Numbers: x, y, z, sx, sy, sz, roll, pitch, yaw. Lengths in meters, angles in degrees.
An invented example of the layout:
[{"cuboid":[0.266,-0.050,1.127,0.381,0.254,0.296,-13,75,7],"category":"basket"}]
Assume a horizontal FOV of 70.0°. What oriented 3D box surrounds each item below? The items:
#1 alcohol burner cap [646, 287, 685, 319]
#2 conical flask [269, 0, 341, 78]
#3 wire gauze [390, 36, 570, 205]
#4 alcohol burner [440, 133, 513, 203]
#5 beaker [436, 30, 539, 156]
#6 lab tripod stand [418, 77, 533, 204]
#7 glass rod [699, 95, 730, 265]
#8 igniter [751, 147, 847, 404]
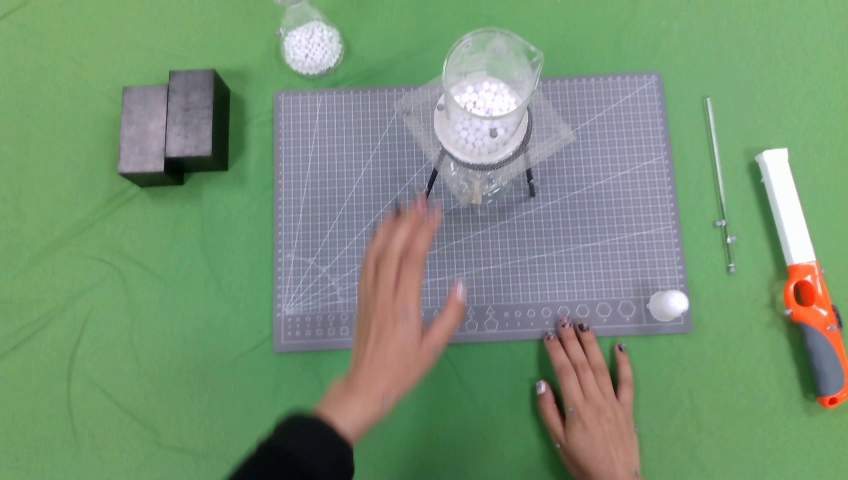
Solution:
[{"cuboid":[0.256,0.064,0.635,0.034,0.048,0.033,0,78,1],"category":"alcohol burner cap"},{"cuboid":[-0.136,-0.237,0.662,0.075,0.122,0.075,0,78,1],"category":"conical flask"},{"cuboid":[0.052,-0.111,0.559,0.125,0.011,0.121,-32,83,-6],"category":"wire gauze"},{"cuboid":[0.056,-0.081,0.630,0.078,0.119,0.077,0,77,0],"category":"alcohol burner"},{"cuboid":[0.051,-0.119,0.512,0.084,0.100,0.073,-23,81,-4],"category":"beaker"},{"cuboid":[0.053,-0.093,0.623,0.148,0.132,0.148,0,81,1],"category":"lab tripod stand"},{"cuboid":[0.327,-0.070,0.680,0.008,0.008,0.199,-3,79,0],"category":"glass rod"},{"cuboid":[0.402,0.033,0.649,0.057,0.025,0.275,-7,79,-11],"category":"igniter"}]
